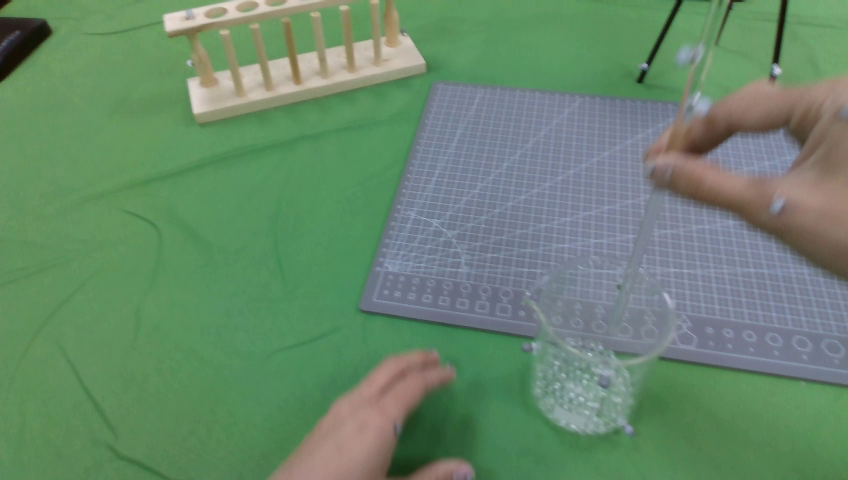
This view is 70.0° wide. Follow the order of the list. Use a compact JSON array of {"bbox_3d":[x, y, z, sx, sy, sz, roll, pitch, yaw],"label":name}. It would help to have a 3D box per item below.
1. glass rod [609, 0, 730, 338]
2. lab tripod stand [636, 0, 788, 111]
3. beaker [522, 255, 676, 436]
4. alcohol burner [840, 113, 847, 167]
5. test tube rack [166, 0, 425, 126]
[{"bbox_3d":[0.107,-0.020,0.280,0.008,0.201,0.008,0,41,0],"label":"glass rod"},{"bbox_3d":[0.295,-0.212,0.587,0.148,0.132,0.147,0,49,0],"label":"lab tripod stand"},{"bbox_3d":[0.098,0.069,0.372,0.084,0.101,0.073,10,50,12],"label":"beaker"},{"bbox_3d":[0.400,-0.106,0.499,0.078,0.120,0.077,-1,51,1],"label":"alcohol burner"},{"bbox_3d":[-0.124,-0.197,0.620,0.243,0.086,0.066,-16,50,-12],"label":"test tube rack"}]
